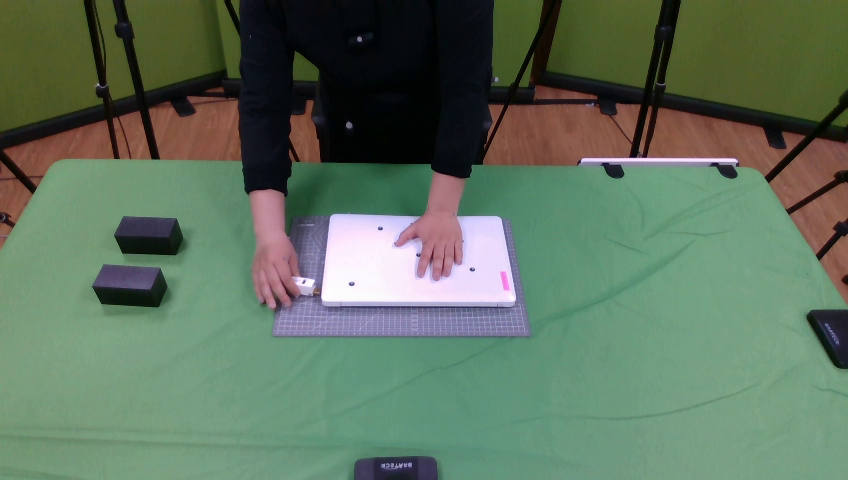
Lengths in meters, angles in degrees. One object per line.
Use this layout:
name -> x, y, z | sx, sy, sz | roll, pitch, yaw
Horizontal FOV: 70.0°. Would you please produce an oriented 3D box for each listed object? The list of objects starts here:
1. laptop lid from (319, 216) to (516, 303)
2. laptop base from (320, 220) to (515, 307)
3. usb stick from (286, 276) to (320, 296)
laptop lid -> -0.013, 0.031, 1.155 | 0.357, 0.013, 0.240 | 2, 42, -3
laptop base -> -0.013, 0.040, 1.161 | 0.355, 0.023, 0.234 | 1, 41, -4
usb stick -> -0.215, 0.085, 1.089 | 0.059, 0.027, 0.021 | 11, 41, 2
